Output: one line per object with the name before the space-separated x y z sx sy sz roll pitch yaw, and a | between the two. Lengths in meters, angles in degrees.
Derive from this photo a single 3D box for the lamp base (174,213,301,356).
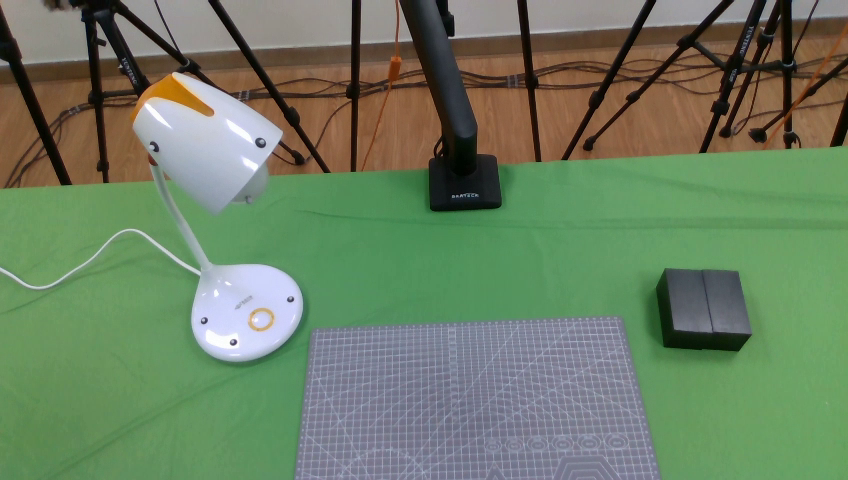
lamp base | -0.277 0.048 0.836 0.178 0.182 0.160 25 59 23

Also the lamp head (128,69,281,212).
lamp head | -0.222 -0.104 0.594 0.124 0.112 0.112 37 56 -18
